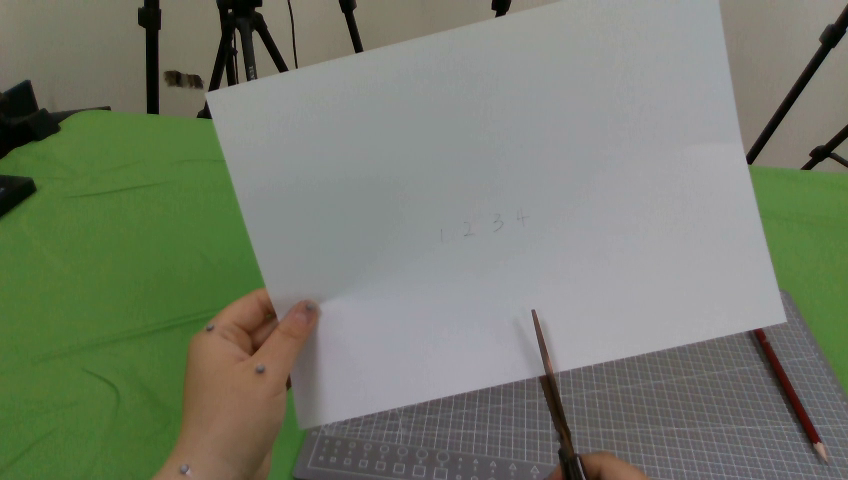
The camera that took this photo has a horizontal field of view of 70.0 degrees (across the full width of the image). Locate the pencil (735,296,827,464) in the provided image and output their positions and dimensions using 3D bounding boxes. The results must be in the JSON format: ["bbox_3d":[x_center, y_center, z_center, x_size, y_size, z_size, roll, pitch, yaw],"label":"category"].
[{"bbox_3d":[0.316,0.116,0.544,0.012,0.012,0.192,4,36,2],"label":"pencil"}]

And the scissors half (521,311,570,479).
[{"bbox_3d":[0.081,0.125,0.367,0.013,0.175,0.040,-18,10,-10],"label":"scissors half"}]

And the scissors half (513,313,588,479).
[{"bbox_3d":[0.083,0.121,0.343,0.013,0.040,0.173,-18,66,-5],"label":"scissors half"}]
